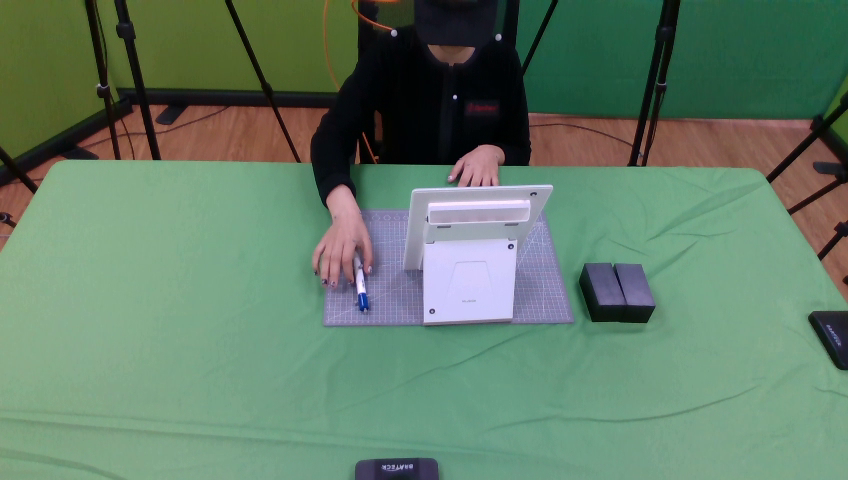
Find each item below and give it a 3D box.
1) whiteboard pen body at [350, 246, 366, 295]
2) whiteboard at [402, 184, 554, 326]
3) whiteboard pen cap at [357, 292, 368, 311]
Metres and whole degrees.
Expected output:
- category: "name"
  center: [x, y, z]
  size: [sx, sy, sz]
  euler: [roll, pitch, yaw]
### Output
- category: "whiteboard pen body"
  center: [-0.121, 0.066, 1.121]
  size: [0.017, 0.017, 0.140]
  euler: [-7, 49, -10]
- category: "whiteboard"
  center: [0.081, 0.044, 1.005]
  size: [0.217, 0.306, 0.143]
  euler: [-1, 66, -6]
- category: "whiteboard pen cap"
  center: [-0.110, 0.110, 1.083]
  size: [0.018, 0.018, 0.033]
  euler: [-6, 48, -9]
